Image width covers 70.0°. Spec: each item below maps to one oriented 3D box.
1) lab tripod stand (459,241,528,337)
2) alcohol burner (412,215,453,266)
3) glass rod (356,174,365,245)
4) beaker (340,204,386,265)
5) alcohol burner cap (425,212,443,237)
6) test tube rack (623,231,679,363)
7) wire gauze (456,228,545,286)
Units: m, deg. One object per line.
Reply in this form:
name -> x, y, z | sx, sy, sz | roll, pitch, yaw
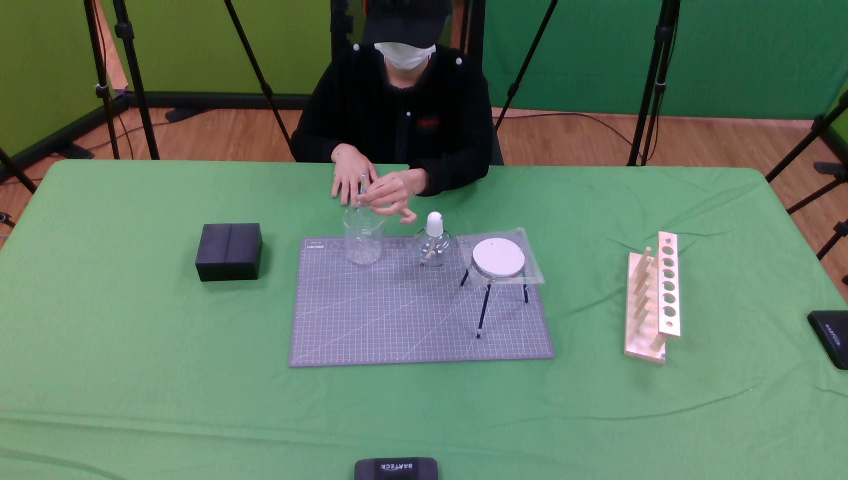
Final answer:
lab tripod stand -> 0.122, 0.075, 1.054 | 0.148, 0.132, 0.147 | 3, 44, -3
alcohol burner -> 0.017, -0.006, 1.139 | 0.078, 0.119, 0.077 | 2, 48, -3
glass rod -> -0.117, -0.051, 1.108 | 0.008, 0.200, 0.008 | 5, 52, -6
beaker -> -0.114, -0.008, 1.140 | 0.084, 0.101, 0.073 | -3, 46, -8
alcohol burner cap -> 0.019, -0.032, 1.114 | 0.034, 0.048, 0.033 | 0, 48, 0
test tube rack -> 0.410, 0.094, 1.096 | 0.066, 0.085, 0.241 | 13, 46, 9
wire gauze -> 0.126, 0.029, 1.006 | 0.125, 0.011, 0.120 | -4, 46, -10
